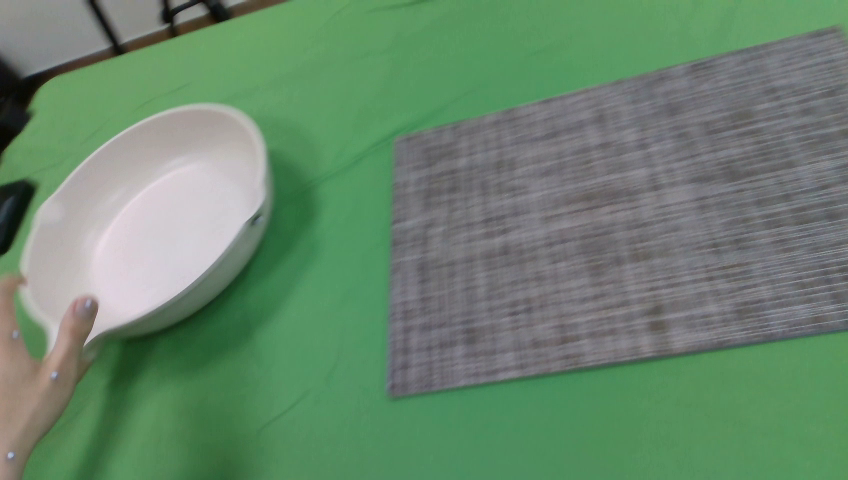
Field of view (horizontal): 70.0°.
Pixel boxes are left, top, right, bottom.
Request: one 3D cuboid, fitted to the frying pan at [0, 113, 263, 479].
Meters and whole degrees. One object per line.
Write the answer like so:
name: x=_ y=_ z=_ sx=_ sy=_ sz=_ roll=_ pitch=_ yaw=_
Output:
frying pan: x=-0.328 y=0.065 z=0.605 sx=0.305 sy=0.104 sz=0.484 roll=0 pitch=49 yaw=21
